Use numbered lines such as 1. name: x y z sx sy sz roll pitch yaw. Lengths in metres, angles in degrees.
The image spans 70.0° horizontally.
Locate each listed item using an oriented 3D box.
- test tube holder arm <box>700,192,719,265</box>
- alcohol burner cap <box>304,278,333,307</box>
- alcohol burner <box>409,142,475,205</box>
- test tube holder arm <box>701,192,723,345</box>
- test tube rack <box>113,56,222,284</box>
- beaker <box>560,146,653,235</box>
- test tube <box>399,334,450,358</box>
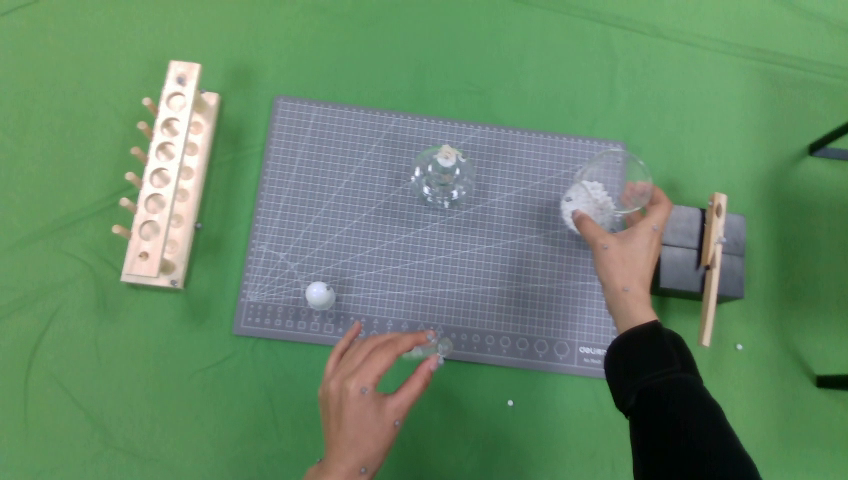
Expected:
1. test tube holder arm: 0.332 -0.013 0.704 0.010 0.015 0.087 10 79 0
2. alcohol burner cap: -0.121 0.057 0.689 0.034 0.048 0.033 1 78 -5
3. alcohol burner: 0.022 -0.082 0.693 0.078 0.119 0.077 0 78 -2
4. test tube holder arm: 0.331 0.032 0.696 0.013 0.015 0.177 8 79 -1
5. test tube rack: -0.294 -0.079 0.685 0.067 0.085 0.241 8 77 -2
6. beaker: 0.199 -0.051 0.685 0.084 0.100 0.073 6 72 -3
7. test tube: -0.002 0.100 0.566 0.017 0.150 0.017 3 77 -13
